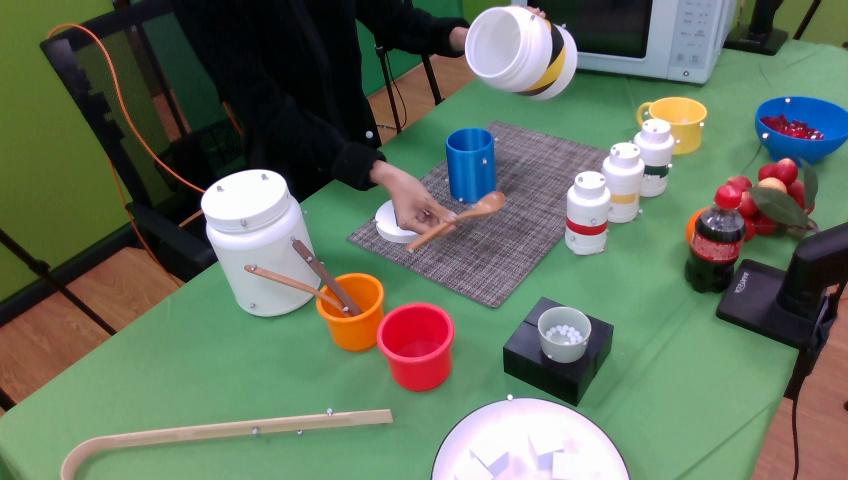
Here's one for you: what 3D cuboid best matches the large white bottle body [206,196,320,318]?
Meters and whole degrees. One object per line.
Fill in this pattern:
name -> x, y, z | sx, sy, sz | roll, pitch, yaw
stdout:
large white bottle body -> -0.233, 0.008, 0.876 | 0.130, 0.185, 0.130 | -4, 40, 4

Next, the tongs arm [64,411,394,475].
tongs arm -> -0.228, 0.240, 0.715 | 0.385, 0.026, 0.050 | -4, 43, 5

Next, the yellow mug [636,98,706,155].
yellow mug -> 0.453, -0.217, 1.128 | 0.100, 0.064, 0.129 | -34, 46, -27

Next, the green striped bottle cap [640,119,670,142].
green striped bottle cap -> 0.371, -0.175, 0.968 | 0.044, 0.020, 0.044 | -3, 41, 3

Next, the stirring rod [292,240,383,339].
stirring rod -> -0.118, 0.068, 0.826 | 0.176, 0.006, 0.014 | 49, 60, -4

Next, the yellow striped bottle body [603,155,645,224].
yellow striped bottle body -> 0.314, -0.091, 0.958 | 0.063, 0.121, 0.062 | -4, 40, 4

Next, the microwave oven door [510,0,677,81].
microwave oven door -> 0.354, -0.478, 1.290 | 0.353, 0.245, 0.039 | 15, 45, 25

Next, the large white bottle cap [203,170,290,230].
large white bottle cap -> -0.241, -0.057, 0.822 | 0.115, 0.018, 0.114 | -4, 41, 4

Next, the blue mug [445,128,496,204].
blue mug -> 0.083, -0.139, 1.057 | 0.082, 0.106, 0.116 | -2, 40, 7

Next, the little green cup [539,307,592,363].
little green cup -> 0.168, 0.115, 0.721 | 0.061, 0.039, 0.061 | -4, 42, 4

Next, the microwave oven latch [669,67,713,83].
microwave oven latch -> 0.556, -0.348, 1.262 | 0.078, 0.029, 0.030 | 15, 46, 26

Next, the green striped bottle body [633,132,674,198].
green striped bottle body -> 0.376, -0.135, 1.001 | 0.063, 0.120, 0.063 | -5, 40, 5

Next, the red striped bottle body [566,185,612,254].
red striped bottle body -> 0.248, -0.041, 0.910 | 0.063, 0.120, 0.062 | -4, 41, 4

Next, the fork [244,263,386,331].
fork -> -0.141, 0.077, 0.807 | 0.209, 0.018, 0.028 | 30, 44, -24

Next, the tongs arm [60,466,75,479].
tongs arm -> -0.239, 0.301, 0.649 | 0.386, 0.028, 0.028 | 6, 49, 17

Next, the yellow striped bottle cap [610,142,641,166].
yellow striped bottle cap -> 0.308, -0.131, 0.925 | 0.044, 0.019, 0.044 | -4, 46, 4

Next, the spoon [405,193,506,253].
spoon -> 0.049, -0.027, 0.909 | 0.195, 0.022, 0.041 | -26, 39, -29

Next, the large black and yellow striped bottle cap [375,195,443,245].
large black and yellow striped bottle cap -> -0.026, -0.036, 1.022 | 0.115, 0.019, 0.114 | -3, 41, 3

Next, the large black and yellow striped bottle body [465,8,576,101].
large black and yellow striped bottle body -> 0.164, -0.314, 1.026 | 0.129, 0.131, 0.185 | 26, 18, 34

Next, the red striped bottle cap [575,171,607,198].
red striped bottle cap -> 0.242, -0.082, 0.876 | 0.044, 0.018, 0.044 | -5, 44, 5

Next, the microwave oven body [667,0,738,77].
microwave oven body -> 0.462, -0.552, 1.369 | 0.439, 0.261, 0.326 | 15, 45, 26

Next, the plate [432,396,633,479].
plate -> 0.112, 0.261, 0.634 | 0.209, 0.038, 0.208 | -5, 40, 4

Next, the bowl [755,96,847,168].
bowl -> 0.645, -0.177, 1.041 | 0.151, 0.077, 0.150 | -5, 40, 4
